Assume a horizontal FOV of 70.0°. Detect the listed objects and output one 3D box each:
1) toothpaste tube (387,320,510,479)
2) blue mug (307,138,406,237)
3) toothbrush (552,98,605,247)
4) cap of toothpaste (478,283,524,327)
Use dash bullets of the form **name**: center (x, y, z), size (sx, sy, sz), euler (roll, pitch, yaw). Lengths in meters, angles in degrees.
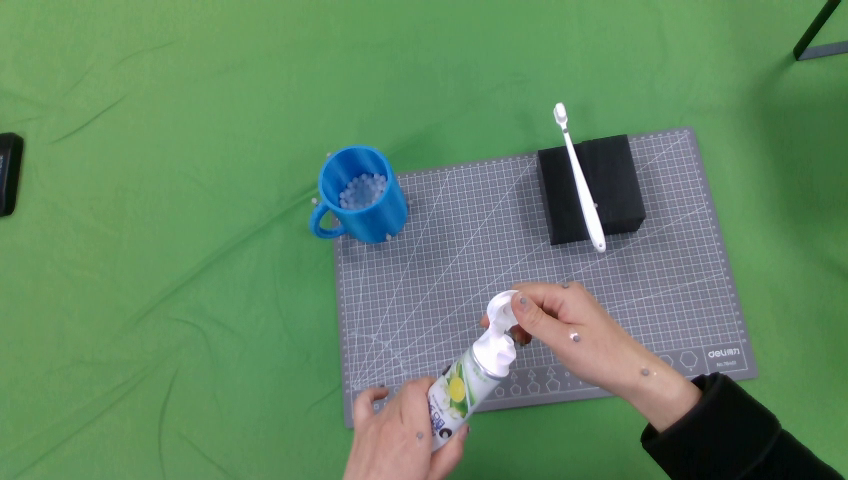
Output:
- **toothpaste tube**: center (0.018, 0.127, 0.488), size (0.165, 0.035, 0.054), euler (-58, 44, 26)
- **blue mug**: center (-0.083, -0.048, 0.698), size (0.116, 0.106, 0.082), euler (-35, 72, -3)
- **toothbrush**: center (0.170, -0.078, 0.669), size (0.014, 0.017, 0.180), euler (-12, 73, -1)
- **cap of toothpaste**: center (0.059, 0.050, 0.462), size (0.037, 0.038, 0.011), euler (-18, 30, 2)
